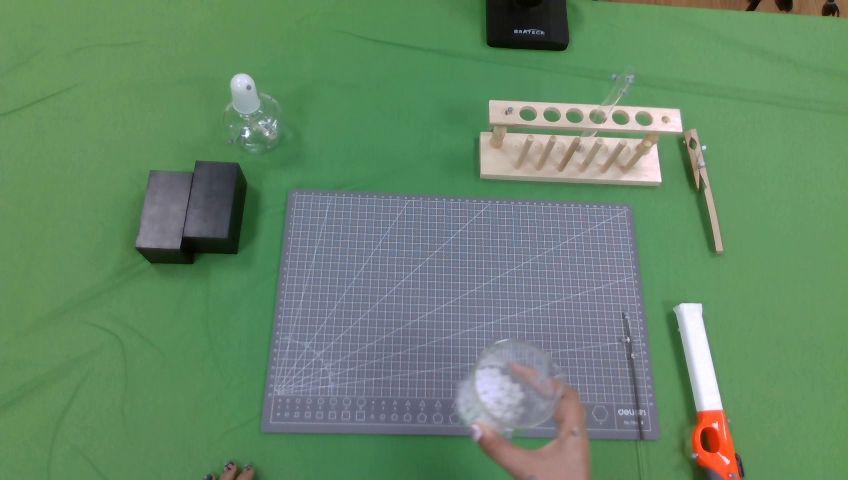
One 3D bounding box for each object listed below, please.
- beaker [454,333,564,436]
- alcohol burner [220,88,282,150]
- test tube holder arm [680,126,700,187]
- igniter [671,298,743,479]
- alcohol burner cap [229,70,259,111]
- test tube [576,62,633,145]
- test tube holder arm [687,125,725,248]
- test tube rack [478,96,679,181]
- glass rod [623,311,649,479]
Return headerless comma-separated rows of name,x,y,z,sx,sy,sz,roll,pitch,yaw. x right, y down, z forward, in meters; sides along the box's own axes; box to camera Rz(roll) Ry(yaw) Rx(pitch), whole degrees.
beaker,0.070,0.132,0.537,0.084,0.101,0.073,-7,67,-12
alcohol burner,-0.219,-0.165,0.754,0.078,0.120,0.077,1,66,-2
test tube holder arm,0.367,-0.115,0.831,0.010,0.015,0.087,-17,67,27
igniter,0.327,0.201,0.699,0.057,0.025,0.274,3,68,-14
alcohol burner cap,-0.216,-0.181,0.721,0.034,0.048,0.033,4,62,-8
test tube,0.218,-0.164,0.748,0.017,0.151,0.017,4,64,-7
test tube holder arm,0.377,-0.074,0.813,0.013,0.015,0.177,-18,67,27
test tube rack,0.196,-0.129,0.787,0.242,0.085,0.066,2,68,-3
glass rod,0.246,0.179,0.708,0.008,0.008,0.198,2,68,-4
